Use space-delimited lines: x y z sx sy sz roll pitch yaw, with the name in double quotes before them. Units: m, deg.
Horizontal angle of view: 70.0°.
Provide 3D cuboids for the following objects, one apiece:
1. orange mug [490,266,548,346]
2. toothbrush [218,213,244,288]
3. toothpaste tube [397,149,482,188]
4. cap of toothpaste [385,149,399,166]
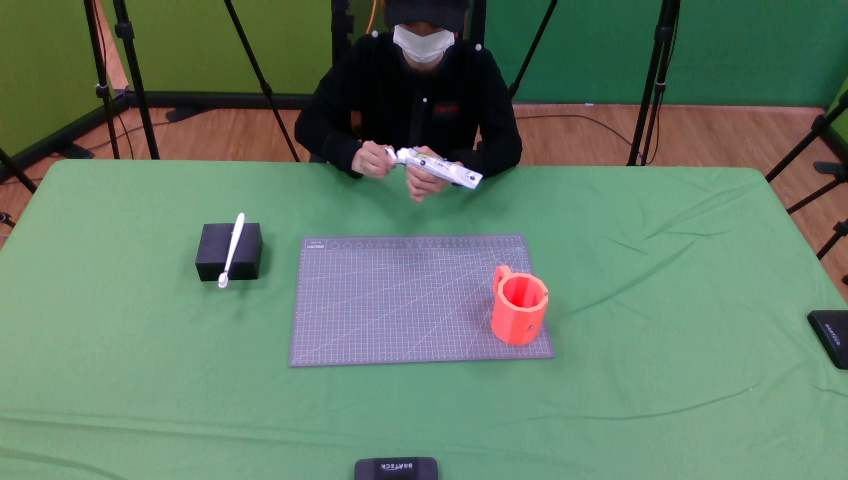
"orange mug" 0.155 0.107 1.051 0.083 0.101 0.125 -15 53 -18
"toothbrush" -0.347 0.013 1.093 0.014 0.017 0.180 -1 46 0
"toothpaste tube" 0.025 -0.135 1.136 0.165 0.035 0.055 19 45 12
"cap of toothpaste" -0.061 -0.158 1.152 0.011 0.037 0.037 -34 55 -12
